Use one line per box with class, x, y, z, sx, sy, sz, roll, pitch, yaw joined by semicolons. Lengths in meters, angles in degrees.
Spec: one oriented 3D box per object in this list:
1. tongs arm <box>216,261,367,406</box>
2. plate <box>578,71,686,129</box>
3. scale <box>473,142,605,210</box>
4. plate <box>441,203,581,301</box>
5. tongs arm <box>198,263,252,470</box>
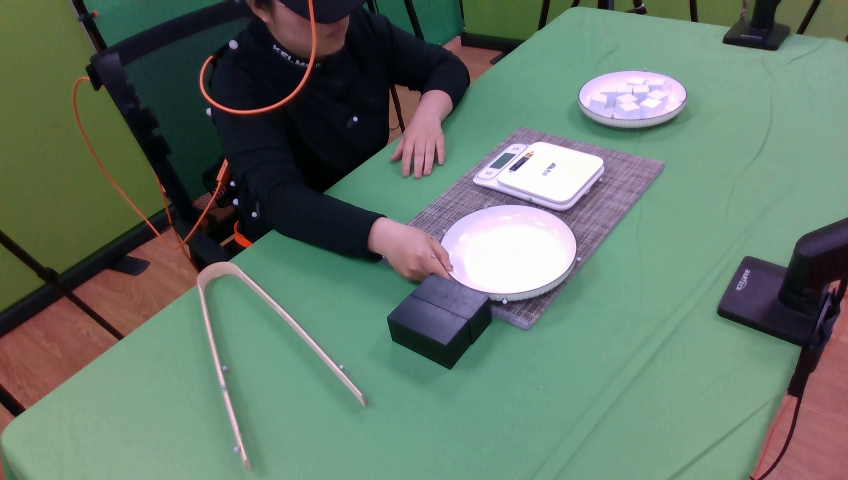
tongs arm;-0.201;0.121;0.871;0.028;0.028;0.384;-36;46;-24
plate;0.416;-0.280;1.222;0.209;0.038;0.208;-5;41;5
scale;0.202;-0.121;1.074;0.199;0.032;0.149;23;49;33
plate;0.130;0.020;0.916;0.207;0.039;0.206;-5;40;5
tongs arm;-0.270;0.154;0.841;0.051;0.026;0.381;-24;41;-17
